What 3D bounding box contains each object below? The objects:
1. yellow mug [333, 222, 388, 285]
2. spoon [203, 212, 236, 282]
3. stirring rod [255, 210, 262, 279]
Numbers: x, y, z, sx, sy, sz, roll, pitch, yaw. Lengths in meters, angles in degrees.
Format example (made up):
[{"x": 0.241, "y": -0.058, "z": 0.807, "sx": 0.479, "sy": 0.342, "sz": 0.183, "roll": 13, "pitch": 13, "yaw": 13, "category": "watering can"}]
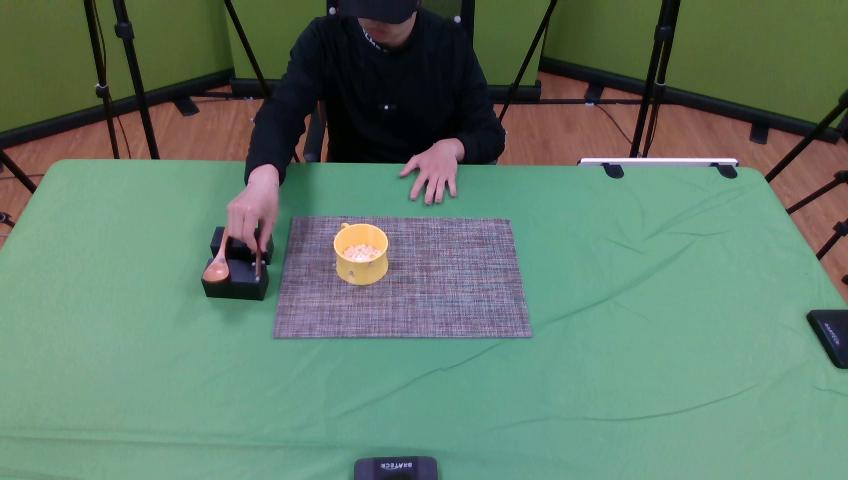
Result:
[{"x": -0.126, "y": 0.016, "z": 1.139, "sx": 0.100, "sy": 0.064, "sz": 0.130, "roll": -24, "pitch": 51, "yaw": -24, "category": "yellow mug"}, {"x": -0.362, "y": 0.009, "z": 1.097, "sx": 0.041, "sy": 0.022, "sz": 0.192, "roll": 1, "pitch": 44, "yaw": -3, "category": "spoon"}, {"x": -0.299, "y": 0.004, "z": 1.096, "sx": 0.006, "sy": 0.014, "sz": 0.175, "roll": -13, "pitch": 44, "yaw": 0, "category": "stirring rod"}]
